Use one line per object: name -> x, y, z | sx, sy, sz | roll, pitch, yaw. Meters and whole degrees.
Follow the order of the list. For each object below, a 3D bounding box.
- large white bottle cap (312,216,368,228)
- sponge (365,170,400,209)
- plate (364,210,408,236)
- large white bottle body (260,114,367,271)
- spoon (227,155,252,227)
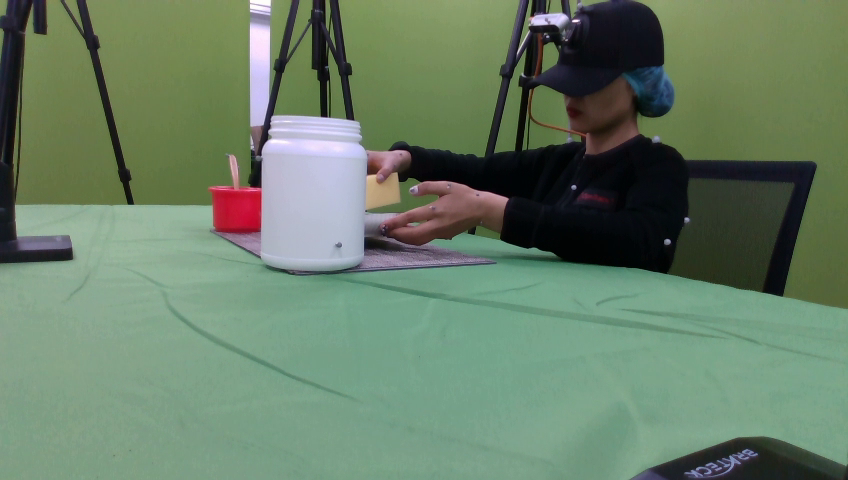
large white bottle cap -> -0.171, -0.038, 1.233 | 0.115, 0.018, 0.115 | 1, 5, 0
sponge -> -0.151, -0.086, 1.120 | 0.117, 0.061, 0.208 | 0, 11, 32
plate -> -0.128, -0.024, 0.980 | 0.209, 0.038, 0.209 | -3, 2, 0
large white bottle body -> -0.139, -0.061, 0.763 | 0.131, 0.184, 0.130 | 3, 8, 0
spoon -> -0.343, -0.093, 1.108 | 0.042, 0.021, 0.193 | -1, 51, -22
